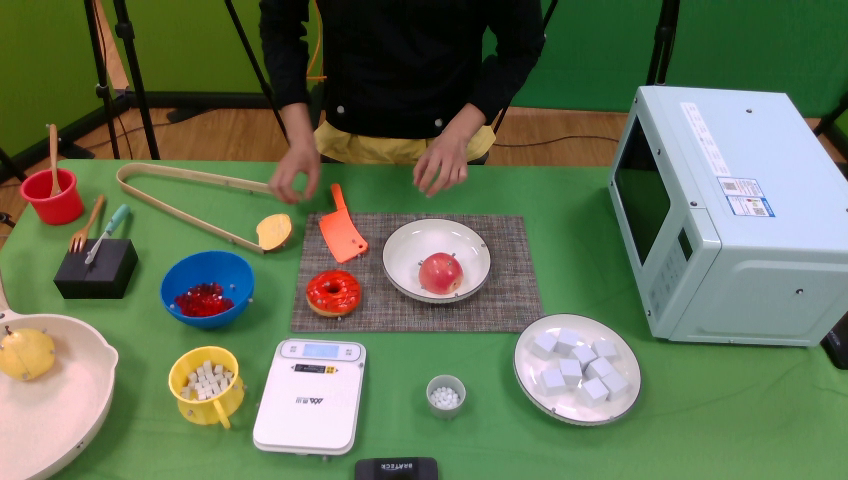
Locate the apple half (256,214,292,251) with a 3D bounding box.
[{"bbox_3d":[-0.285,-0.011,1.176,0.081,0.033,0.081,-10,60,18],"label":"apple half"}]

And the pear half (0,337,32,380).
[{"bbox_3d":[-0.631,0.184,0.921,0.070,0.088,0.031,29,49,19],"label":"pear half"}]

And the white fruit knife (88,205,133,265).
[{"bbox_3d":[-0.584,-0.013,1.129,0.016,0.027,0.206,0,32,-5],"label":"white fruit knife"}]

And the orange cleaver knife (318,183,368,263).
[{"bbox_3d":[-0.173,-0.038,1.218,0.077,0.012,0.210,-16,51,-12],"label":"orange cleaver knife"}]

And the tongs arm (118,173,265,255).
[{"bbox_3d":[-0.473,-0.053,1.212,0.386,0.028,0.028,23,57,17],"label":"tongs arm"}]

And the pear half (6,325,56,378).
[{"bbox_3d":[-0.608,0.158,0.935,0.076,0.110,0.056,31,51,20],"label":"pear half"}]

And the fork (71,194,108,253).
[{"bbox_3d":[-0.634,-0.036,1.158,0.028,0.019,0.206,-8,32,-8],"label":"fork"}]

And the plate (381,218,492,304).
[{"bbox_3d":[0.023,0.042,1.143,0.209,0.038,0.208,2,46,-2],"label":"plate"}]

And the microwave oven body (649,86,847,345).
[{"bbox_3d":[0.567,-0.053,1.118,0.326,0.261,0.439,2,45,-1],"label":"microwave oven body"}]

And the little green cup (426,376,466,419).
[{"bbox_3d":[0.033,0.248,0.950,0.061,0.039,0.061,2,46,-2],"label":"little green cup"}]

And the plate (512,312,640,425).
[{"bbox_3d":[0.246,0.213,0.999,0.208,0.039,0.206,2,46,-2],"label":"plate"}]

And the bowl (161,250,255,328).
[{"bbox_3d":[-0.362,0.098,1.039,0.151,0.077,0.150,2,45,-2],"label":"bowl"}]

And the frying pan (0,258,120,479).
[{"bbox_3d":[-0.647,0.164,0.936,0.307,0.103,0.485,-19,58,-22],"label":"frying pan"}]

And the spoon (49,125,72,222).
[{"bbox_3d":[-0.718,-0.131,1.189,0.041,0.021,0.193,-4,90,-6],"label":"spoon"}]

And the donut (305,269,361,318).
[{"bbox_3d":[-0.160,0.094,1.075,0.099,0.048,0.098,4,45,-3],"label":"donut"}]

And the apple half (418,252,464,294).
[{"bbox_3d":[0.033,0.055,1.109,0.081,0.053,0.074,-29,57,-27],"label":"apple half"}]

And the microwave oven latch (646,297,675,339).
[{"bbox_3d":[0.412,0.134,1.061,0.030,0.029,0.078,4,45,1],"label":"microwave oven latch"}]

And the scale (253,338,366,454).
[{"bbox_3d":[-0.175,0.236,0.951,0.149,0.032,0.199,5,45,-1],"label":"scale"}]

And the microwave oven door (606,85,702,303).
[{"bbox_3d":[0.423,-0.094,1.140,0.039,0.245,0.353,2,46,-1],"label":"microwave oven door"}]

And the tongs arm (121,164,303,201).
[{"bbox_3d":[-0.444,-0.113,1.267,0.384,0.026,0.050,12,51,8],"label":"tongs arm"}]

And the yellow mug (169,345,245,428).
[{"bbox_3d":[-0.322,0.230,0.922,0.100,0.064,0.130,-24,53,-25],"label":"yellow mug"}]
